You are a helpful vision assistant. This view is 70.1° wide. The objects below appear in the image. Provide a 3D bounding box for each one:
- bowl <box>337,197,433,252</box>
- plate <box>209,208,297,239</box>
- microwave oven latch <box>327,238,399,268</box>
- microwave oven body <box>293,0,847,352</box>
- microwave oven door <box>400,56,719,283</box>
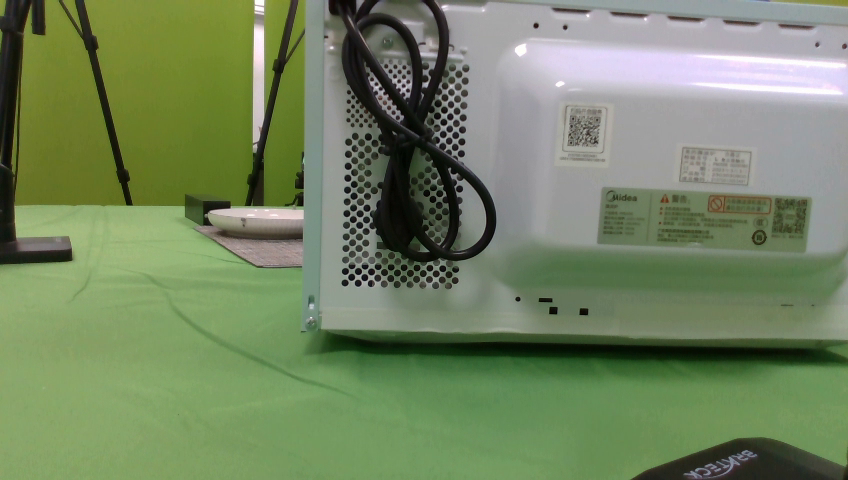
[{"bbox_3d":[-0.062,-0.025,0.955,0.151,0.077,0.151,2,8,0],"label":"bowl"},{"bbox_3d":[-0.271,-0.029,1.074,0.208,0.039,0.207,3,7,0],"label":"plate"},{"bbox_3d":[-0.069,0.015,0.694,0.079,0.029,0.030,3,7,-3],"label":"microwave oven latch"},{"bbox_3d":[0.122,-0.055,0.550,0.442,0.260,0.325,3,7,-5],"label":"microwave oven body"},{"bbox_3d":[0.155,-0.077,0.698,0.356,0.243,0.039,2,8,-5],"label":"microwave oven door"}]
